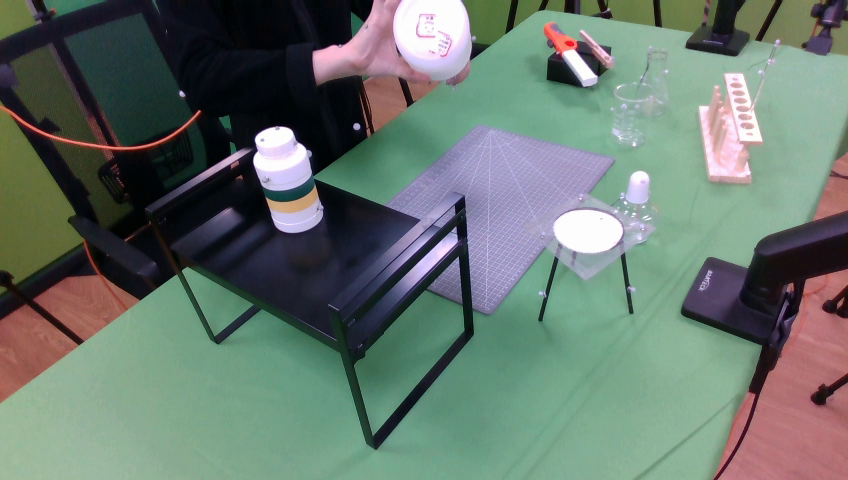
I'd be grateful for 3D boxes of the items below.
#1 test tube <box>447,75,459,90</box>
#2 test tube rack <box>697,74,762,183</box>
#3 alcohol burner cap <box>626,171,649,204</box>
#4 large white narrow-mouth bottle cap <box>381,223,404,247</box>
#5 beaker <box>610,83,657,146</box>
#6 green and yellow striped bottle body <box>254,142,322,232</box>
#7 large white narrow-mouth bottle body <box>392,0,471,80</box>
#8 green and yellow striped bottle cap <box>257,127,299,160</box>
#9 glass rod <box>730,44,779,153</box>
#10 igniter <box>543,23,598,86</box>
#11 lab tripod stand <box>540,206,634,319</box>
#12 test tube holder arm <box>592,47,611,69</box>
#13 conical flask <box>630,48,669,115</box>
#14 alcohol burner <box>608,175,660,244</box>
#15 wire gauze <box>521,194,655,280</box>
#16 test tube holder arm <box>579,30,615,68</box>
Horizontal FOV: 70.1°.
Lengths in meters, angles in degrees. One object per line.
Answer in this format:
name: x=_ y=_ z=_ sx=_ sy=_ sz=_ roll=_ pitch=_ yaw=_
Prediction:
test tube: x=0.044 y=-0.282 z=1.031 sx=0.017 sy=0.017 sz=0.150 roll=1 pitch=-1 yaw=9
test tube rack: x=0.547 y=-0.208 z=1.095 sx=0.066 sy=0.085 sz=0.242 roll=5 pitch=42 yaw=15
alcohol burner cap: x=0.320 y=-0.081 z=0.900 sx=0.034 sy=0.048 sz=0.033 roll=-4 pitch=42 yaw=4
large white narrow-mouth bottle cap: x=-0.052 y=-0.009 z=0.992 sx=0.038 sy=0.024 sz=0.037 roll=-5 pitch=39 yaw=4
beaker: x=0.388 y=-0.235 z=1.138 sx=0.074 sy=0.101 sz=0.083 roll=-31 pitch=45 yaw=-26
green and yellow striped bottle body: x=-0.165 y=-0.073 z=0.732 sx=0.063 sy=0.120 sz=0.063 roll=-4 pitch=41 yaw=4
large white narrow-mouth bottle body: x=0.017 y=-0.282 z=0.862 sx=0.101 sy=0.102 sz=0.195 roll=-1 pitch=6 yaw=7
green and yellow striped bottle cap: x=-0.169 y=-0.112 z=0.698 sx=0.045 sy=0.020 sz=0.045 roll=-5 pitch=40 yaw=5
glass rod: x=0.555 y=-0.234 z=1.021 sx=0.008 sy=0.200 sz=0.008 roll=2 pitch=40 yaw=-1
igniter: x=0.320 y=-0.419 z=1.345 sx=0.057 sy=0.025 sz=0.274 roll=-12 pitch=44 yaw=-3
lab tripod stand: x=0.217 y=0.034 z=0.821 sx=0.148 sy=0.132 sz=0.147 roll=-4 pitch=42 yaw=4
test tube holder arm: x=0.386 y=-0.398 z=1.317 sx=0.010 sy=0.015 sz=0.087 roll=-11 pitch=41 yaw=-2
conical flask: x=0.456 y=-0.317 z=1.205 sx=0.075 sy=0.122 sz=0.075 roll=-4 pitch=41 yaw=4
alcohol burner: x=0.322 y=-0.053 z=0.924 sx=0.078 sy=0.119 sz=0.077 roll=-4 pitch=43 yaw=4
wire gauze: x=0.207 y=-0.012 z=0.772 sx=0.122 sy=0.011 sz=0.124 roll=-28 pitch=44 yaw=-20
test tube holder arm: x=0.383 y=-0.428 z=1.351 sx=0.013 sy=0.015 sz=0.177 roll=-11 pitch=41 yaw=-3
